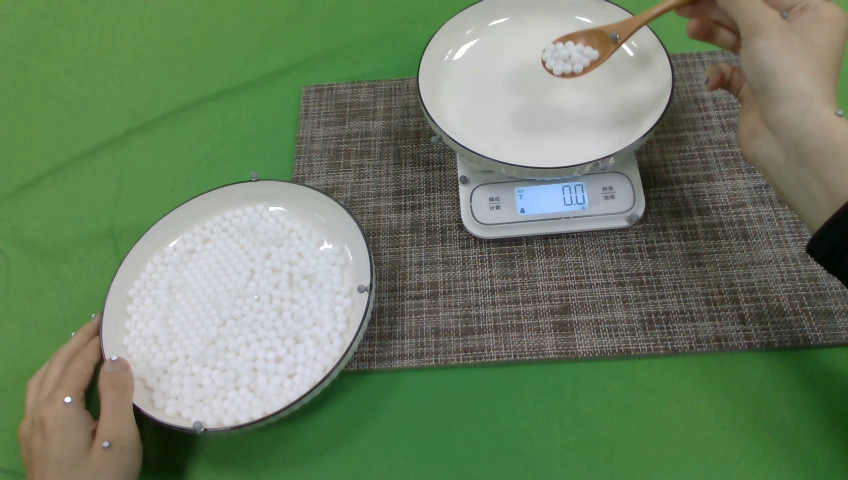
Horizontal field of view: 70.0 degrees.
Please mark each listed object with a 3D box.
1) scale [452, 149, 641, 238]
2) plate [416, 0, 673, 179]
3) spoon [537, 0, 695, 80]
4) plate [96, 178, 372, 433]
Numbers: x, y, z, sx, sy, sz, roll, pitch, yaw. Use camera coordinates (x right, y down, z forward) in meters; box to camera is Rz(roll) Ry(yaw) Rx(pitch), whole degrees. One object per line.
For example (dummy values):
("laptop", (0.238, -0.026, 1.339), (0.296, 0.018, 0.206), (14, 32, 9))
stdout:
("scale", (0.098, -0.096, 0.530), (0.148, 0.032, 0.199), (-4, 59, 3))
("plate", (0.098, -0.131, 0.512), (0.207, 0.039, 0.205), (-2, 59, 4))
("spoon", (0.176, -0.168, 0.446), (0.193, 0.022, 0.041), (-21, 65, 27))
("plate", (-0.140, 0.046, 0.466), (0.209, 0.038, 0.207), (-3, 59, 5))
